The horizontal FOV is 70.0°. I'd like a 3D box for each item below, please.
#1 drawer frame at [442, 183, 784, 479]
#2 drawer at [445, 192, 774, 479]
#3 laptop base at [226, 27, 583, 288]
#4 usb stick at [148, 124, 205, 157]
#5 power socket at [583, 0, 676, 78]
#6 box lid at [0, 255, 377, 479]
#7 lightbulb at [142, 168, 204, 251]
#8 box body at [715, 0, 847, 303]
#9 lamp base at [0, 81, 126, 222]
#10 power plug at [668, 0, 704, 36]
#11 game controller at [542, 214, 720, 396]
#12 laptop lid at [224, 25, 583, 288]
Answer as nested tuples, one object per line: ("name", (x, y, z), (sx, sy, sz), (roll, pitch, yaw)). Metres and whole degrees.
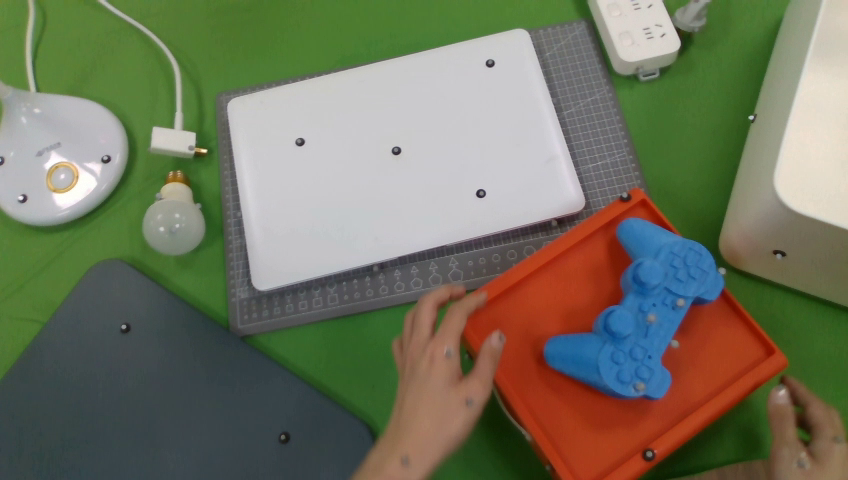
("drawer frame", (0.157, 0.089, 0.545), (0.213, 0.083, 0.200), (-33, 71, -7))
("drawer", (0.157, 0.091, 0.546), (0.212, 0.074, 0.193), (-33, 70, -7))
("laptop base", (-0.031, -0.096, 0.664), (0.354, 0.023, 0.234), (-14, 73, 0))
("usb stick", (-0.276, -0.110, 0.678), (0.059, 0.021, 0.027), (9, 72, -27))
("power socket", (0.223, -0.291, 0.706), (0.072, 0.033, 0.225), (-13, 69, -1))
("box lid", (-0.258, 0.197, 0.581), (0.370, 0.015, 0.262), (30, 75, 13))
("lightbulb", (-0.267, -0.036, 0.647), (0.059, 0.060, 0.106), (-14, 54, 0))
("box body", (0.448, -0.118, 0.555), (0.253, 0.161, 0.362), (20, 73, 12))
("lamp base", (-0.436, -0.131, 0.625), (0.160, 0.181, 0.178), (-39, 68, -9))
("power plug", (0.306, -0.260, 0.684), (0.072, 0.053, 0.035), (-31, 65, -25))
("game controller", (0.175, 0.054, 0.502), (0.097, 0.052, 0.155), (33, 77, 10))
("laptop lid", (-0.032, -0.098, 0.652), (0.357, 0.013, 0.240), (-13, 72, 0))
